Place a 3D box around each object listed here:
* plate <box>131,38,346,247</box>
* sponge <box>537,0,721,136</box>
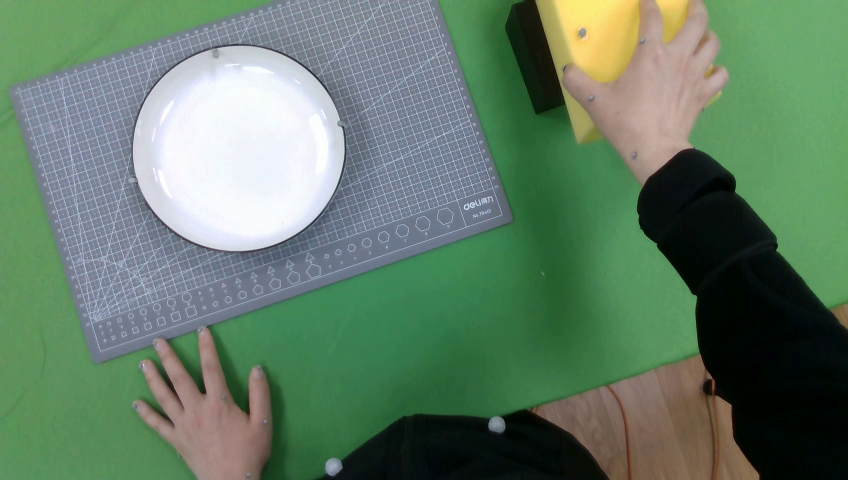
[{"bbox_3d":[-0.181,-0.095,0.608,0.209,0.038,0.208,0,87,-2],"label":"plate"},{"bbox_3d":[0.176,-0.213,0.561,0.118,0.061,0.206,-16,84,1],"label":"sponge"}]
